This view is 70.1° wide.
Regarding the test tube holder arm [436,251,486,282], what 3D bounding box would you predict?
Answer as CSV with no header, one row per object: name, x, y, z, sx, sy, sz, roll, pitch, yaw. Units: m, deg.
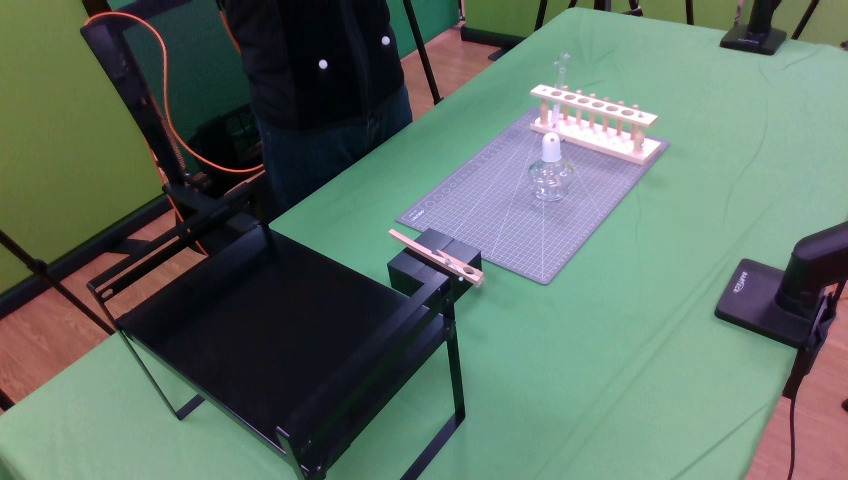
test tube holder arm,0.049,0.037,0.852,0.087,0.015,0.010,25,56,33

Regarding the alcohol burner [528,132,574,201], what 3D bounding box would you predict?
alcohol burner,0.214,-0.126,1.016,0.078,0.119,0.077,-5,38,5

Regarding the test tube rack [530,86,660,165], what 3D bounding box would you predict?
test tube rack,0.320,-0.226,1.140,0.240,0.085,0.067,27,51,34

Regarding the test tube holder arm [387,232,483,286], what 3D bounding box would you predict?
test tube holder arm,0.012,0.025,0.874,0.177,0.015,0.013,24,56,33

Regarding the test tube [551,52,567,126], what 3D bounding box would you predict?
test tube,0.253,-0.281,1.138,0.017,0.151,0.017,-2,43,2

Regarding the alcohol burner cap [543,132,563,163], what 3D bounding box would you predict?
alcohol burner cap,0.211,-0.154,0.994,0.034,0.048,0.033,-7,35,6
